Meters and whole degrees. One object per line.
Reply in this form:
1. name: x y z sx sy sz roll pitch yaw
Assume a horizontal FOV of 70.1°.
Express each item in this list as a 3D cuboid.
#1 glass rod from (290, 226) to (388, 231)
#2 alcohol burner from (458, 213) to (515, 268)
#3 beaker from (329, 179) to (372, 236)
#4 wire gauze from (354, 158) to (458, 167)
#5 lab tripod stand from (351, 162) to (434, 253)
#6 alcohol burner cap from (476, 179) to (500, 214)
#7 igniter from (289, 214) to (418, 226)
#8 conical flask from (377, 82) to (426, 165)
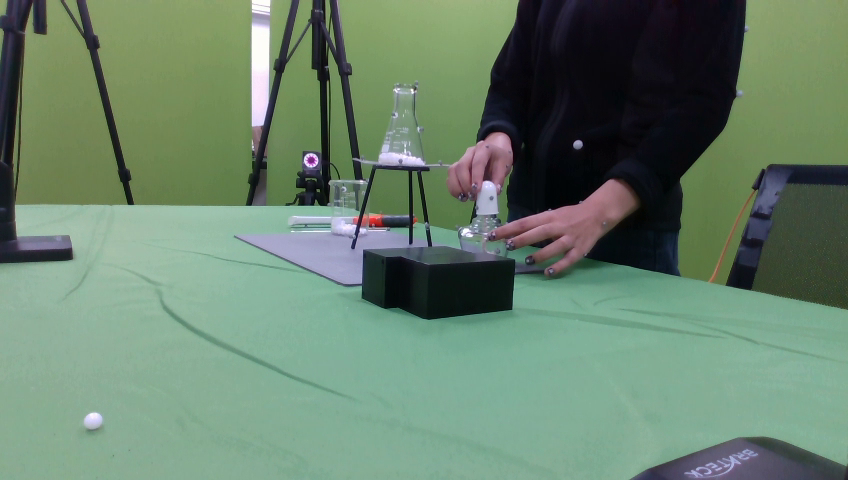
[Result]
1. glass rod: -0.161 -0.023 1.177 0.201 0.008 0.008 -2 8 -28
2. alcohol burner: 0.086 -0.023 0.825 0.078 0.119 0.078 1 8 0
3. beaker: -0.137 -0.061 1.101 0.084 0.100 0.074 5 7 20
4. wire gauze: -0.030 -0.117 0.927 0.122 0.011 0.124 0 5 -36
5. lab tripod stand: -0.034 -0.052 0.933 0.148 0.131 0.148 4 7 0
6. alcohol burner cap: 0.085 -0.059 0.819 0.034 0.048 0.034 -5 9 1
7. igniter: -0.141 -0.042 1.258 0.278 0.025 0.057 -1 -2 -30
8. conical flask: -0.032 -0.175 0.918 0.075 0.122 0.075 3 8 0
